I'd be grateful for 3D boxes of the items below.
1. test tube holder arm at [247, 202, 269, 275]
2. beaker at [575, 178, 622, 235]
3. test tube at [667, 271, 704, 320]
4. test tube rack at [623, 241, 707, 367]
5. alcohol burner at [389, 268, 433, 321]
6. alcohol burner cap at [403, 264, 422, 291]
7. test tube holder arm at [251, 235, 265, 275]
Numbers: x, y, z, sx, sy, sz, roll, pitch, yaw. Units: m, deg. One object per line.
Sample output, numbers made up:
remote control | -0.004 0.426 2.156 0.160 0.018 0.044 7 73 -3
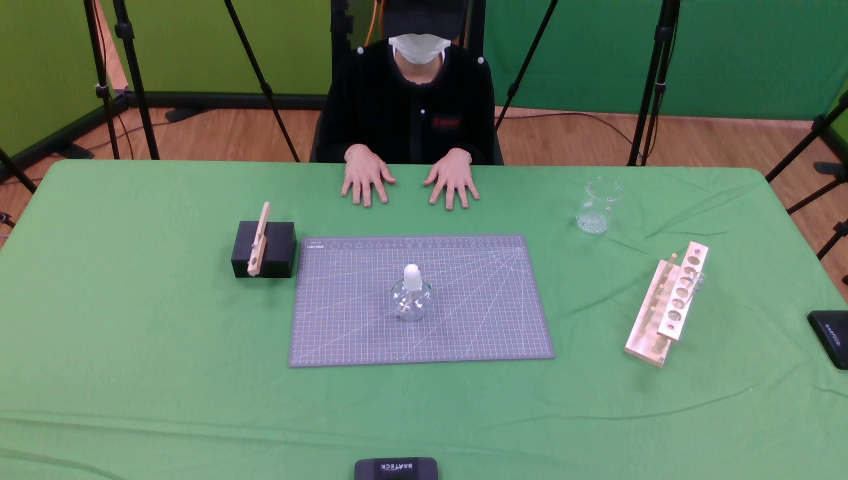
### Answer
test tube holder arm | -0.304 -0.006 1.116 0.013 0.015 0.177 -6 46 1
beaker | 0.356 -0.068 1.240 0.084 0.101 0.073 -18 50 -21
test tube | 0.432 0.104 1.019 0.017 0.151 0.017 3 48 -3
test tube rack | 0.435 0.104 1.089 0.066 0.085 0.242 24 49 18
alcohol burner | -0.023 0.086 1.046 0.078 0.119 0.077 2 48 -2
alcohol burner cap | -0.021 0.060 1.021 0.034 0.048 0.033 -2 47 2
test tube holder arm | -0.297 0.025 1.085 0.010 0.015 0.087 -5 46 2
